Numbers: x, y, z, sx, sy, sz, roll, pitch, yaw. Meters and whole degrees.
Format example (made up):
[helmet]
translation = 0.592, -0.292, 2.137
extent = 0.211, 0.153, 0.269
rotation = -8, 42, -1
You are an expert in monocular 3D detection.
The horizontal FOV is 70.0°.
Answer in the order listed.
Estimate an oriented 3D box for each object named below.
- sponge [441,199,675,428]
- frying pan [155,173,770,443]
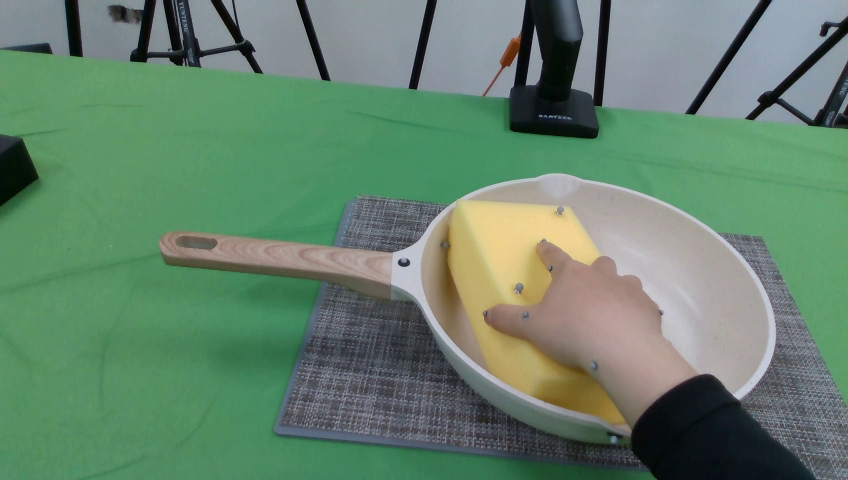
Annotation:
[sponge]
translation = 0.098, 0.052, 0.510
extent = 0.119, 0.061, 0.204
rotation = 2, 39, -20
[frying pan]
translation = 0.030, 0.035, 0.510
extent = 0.489, 0.103, 0.304
rotation = 9, 38, -7
